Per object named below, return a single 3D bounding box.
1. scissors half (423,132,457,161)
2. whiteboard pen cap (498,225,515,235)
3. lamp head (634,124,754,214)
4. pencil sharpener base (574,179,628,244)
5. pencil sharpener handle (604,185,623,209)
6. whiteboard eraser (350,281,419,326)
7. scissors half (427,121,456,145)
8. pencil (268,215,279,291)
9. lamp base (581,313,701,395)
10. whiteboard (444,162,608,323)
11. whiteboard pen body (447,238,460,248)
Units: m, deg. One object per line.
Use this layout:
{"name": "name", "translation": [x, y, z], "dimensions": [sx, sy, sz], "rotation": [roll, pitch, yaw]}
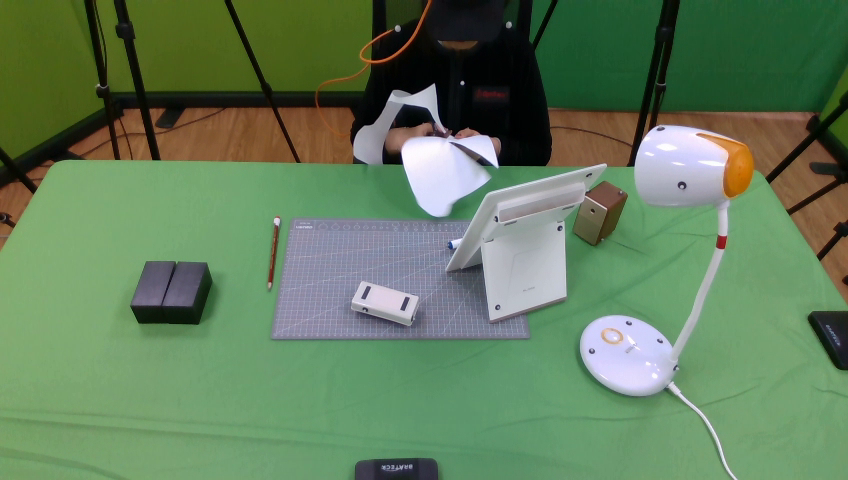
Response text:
{"name": "scissors half", "translation": [0.034, -0.207, 1.322], "dimensions": [0.013, 0.175, 0.040], "rotation": [10, 76, -21]}
{"name": "whiteboard pen cap", "translation": [0.166, -0.019, 1.222], "dimensions": [0.033, 0.018, 0.018], "rotation": [-14, 49, -19]}
{"name": "lamp head", "translation": [0.351, -0.089, 0.775], "dimensions": [0.112, 0.113, 0.122], "rotation": [-30, 30, -28]}
{"name": "pencil sharpener base", "translation": [0.355, -0.057, 1.217], "dimensions": [0.076, 0.107, 0.061], "rotation": [-33, 56, -31]}
{"name": "pencil sharpener handle", "translation": [0.390, -0.091, 1.235], "dimensions": [0.030, 0.068, 0.036], "rotation": [-33, 69, -31]}
{"name": "whiteboard eraser", "translation": [-0.069, 0.113, 1.065], "dimensions": [0.112, 0.042, 0.055], "rotation": [14, 46, 9]}
{"name": "scissors half", "translation": [0.038, -0.230, 1.321], "dimensions": [0.013, 0.040, 0.174], "rotation": [5, 20, -20]}
{"name": "pencil", "translation": [-0.291, 0.022, 1.164], "dimensions": [0.012, 0.012, 0.192], "rotation": [-2, 48, -6]}
{"name": "lamp base", "translation": [0.361, 0.144, 0.972], "dimensions": [0.178, 0.181, 0.160], "rotation": [34, 53, 23]}
{"name": "whiteboard", "translation": [0.186, 0.025, 1.029], "dimensions": [0.217, 0.306, 0.143], "rotation": [-14, 68, -18]}
{"name": "whiteboard pen body", "translation": [0.112, -0.005, 1.203], "dimensions": [0.141, 0.017, 0.017], "rotation": [-14, 49, -18]}
